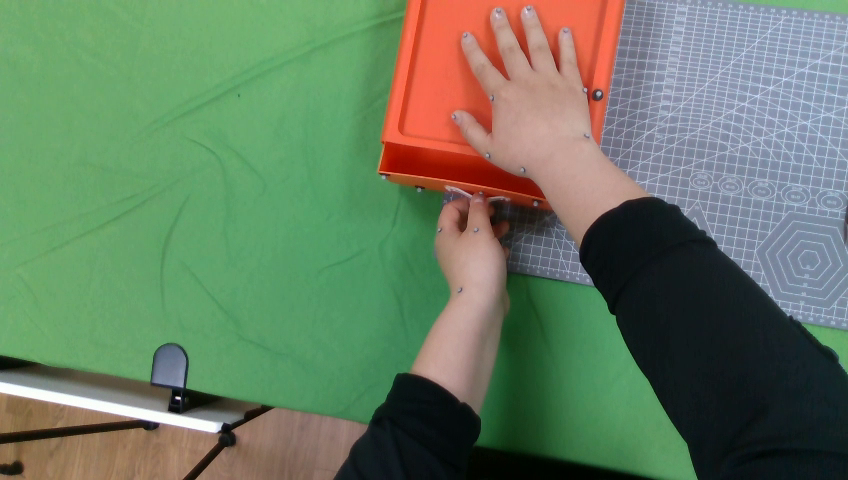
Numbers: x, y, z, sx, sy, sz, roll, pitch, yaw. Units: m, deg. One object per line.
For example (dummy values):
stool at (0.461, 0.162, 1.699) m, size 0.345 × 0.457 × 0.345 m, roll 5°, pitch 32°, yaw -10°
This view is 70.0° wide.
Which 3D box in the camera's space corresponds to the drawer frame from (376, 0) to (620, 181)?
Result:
drawer frame at (0.074, -0.174, 0.586) m, size 0.201 × 0.083 × 0.213 m, roll 9°, pitch 89°, yaw 9°

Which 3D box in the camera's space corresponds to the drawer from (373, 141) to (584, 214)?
drawer at (0.069, -0.143, 0.586) m, size 0.194 × 0.073 × 0.211 m, roll 10°, pitch 88°, yaw 9°

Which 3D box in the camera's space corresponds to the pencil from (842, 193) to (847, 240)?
pencil at (0.416, -0.096, 0.574) m, size 0.012 × 0.012 × 0.194 m, roll 10°, pitch 91°, yaw 8°
